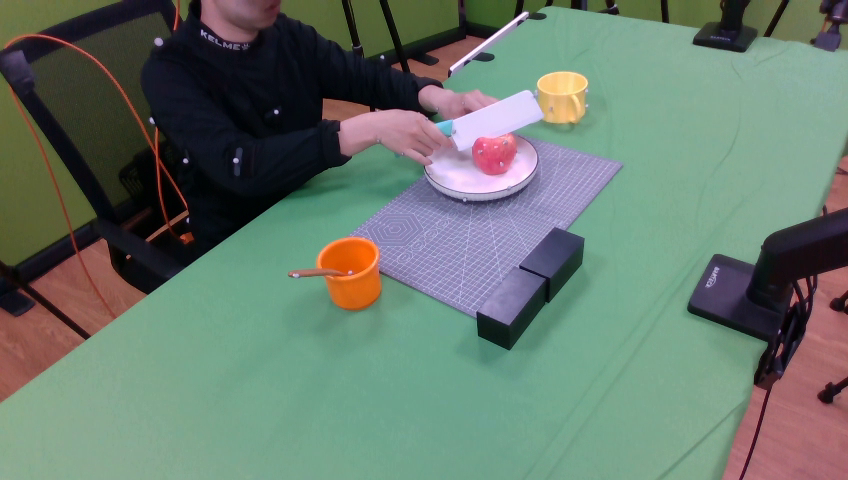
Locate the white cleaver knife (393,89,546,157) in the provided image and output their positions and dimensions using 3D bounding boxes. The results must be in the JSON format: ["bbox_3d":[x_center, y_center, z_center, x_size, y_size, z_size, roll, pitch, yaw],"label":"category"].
[{"bbox_3d":[0.069,-0.189,1.055,0.285,0.066,0.021,-15,28,27],"label":"white cleaver knife"}]

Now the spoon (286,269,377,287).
[{"bbox_3d":[-0.125,0.049,0.831,0.041,0.195,0.021,22,93,28],"label":"spoon"}]

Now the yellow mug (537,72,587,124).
[{"bbox_3d":[0.285,-0.281,1.222,0.100,0.064,0.130,-16,42,-9],"label":"yellow mug"}]

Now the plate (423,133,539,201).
[{"bbox_3d":[0.102,-0.132,1.093,0.209,0.038,0.208,-4,40,4],"label":"plate"}]

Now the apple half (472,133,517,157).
[{"bbox_3d":[0.129,-0.167,1.088,0.080,0.075,0.053,3,36,14],"label":"apple half"}]

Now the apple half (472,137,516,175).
[{"bbox_3d":[0.121,-0.142,1.059,0.081,0.081,0.032,4,39,13],"label":"apple half"}]
